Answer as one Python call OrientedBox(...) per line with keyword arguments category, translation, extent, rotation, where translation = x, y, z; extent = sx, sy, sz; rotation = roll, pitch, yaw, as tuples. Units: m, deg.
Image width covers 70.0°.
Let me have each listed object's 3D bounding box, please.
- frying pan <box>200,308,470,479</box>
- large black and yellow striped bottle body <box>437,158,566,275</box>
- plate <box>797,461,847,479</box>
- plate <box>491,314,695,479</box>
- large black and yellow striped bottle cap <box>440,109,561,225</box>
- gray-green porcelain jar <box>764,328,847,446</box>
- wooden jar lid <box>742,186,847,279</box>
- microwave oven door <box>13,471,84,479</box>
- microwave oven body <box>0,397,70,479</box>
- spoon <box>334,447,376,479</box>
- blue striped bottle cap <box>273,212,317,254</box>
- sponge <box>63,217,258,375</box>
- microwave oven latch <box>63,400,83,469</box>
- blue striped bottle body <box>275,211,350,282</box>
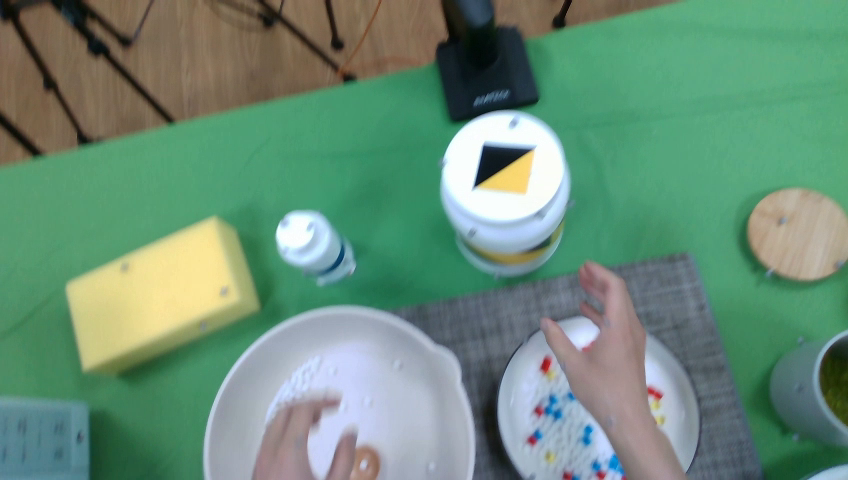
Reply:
OrientedBox(category="frying pan", translation=(-0.039, 0.298, 0.616), extent=(0.307, 0.103, 0.483), rotation=(-34, 64, -1))
OrientedBox(category="large black and yellow striped bottle body", translation=(0.085, -0.045, 0.657), extent=(0.130, 0.185, 0.130), rotation=(-2, 73, 9))
OrientedBox(category="plate", translation=(0.427, 0.317, 0.575), extent=(0.207, 0.039, 0.206), rotation=(-3, 73, 9))
OrientedBox(category="plate", translation=(0.177, 0.184, 0.649), extent=(0.209, 0.038, 0.208), rotation=(-2, 74, 9))
OrientedBox(category="large black and yellow striped bottle cap", translation=(0.073, -0.071, 0.578), extent=(0.115, 0.019, 0.114), rotation=(-2, 75, 8))
OrientedBox(category="gray-green porcelain jar", translation=(0.399, 0.144, 0.583), extent=(0.106, 0.127, 0.105), rotation=(-2, 73, 8))
OrientedBox(category="wooden jar lid", translation=(0.414, -0.007, 0.680), extent=(0.108, 0.021, 0.108), rotation=(-2, 75, 9))
OrientedBox(category="microwave oven door", translation=(-0.406, 0.407, 0.553), extent=(0.039, 0.245, 0.353), rotation=(-12, 72, 5))
OrientedBox(category="microwave oven body", translation=(-0.553, 0.397, 0.585), extent=(0.326, 0.262, 0.438), rotation=(-12, 73, 5))
OrientedBox(category="spoon", translation=(-0.113, 0.301, 0.632), extent=(0.041, 0.022, 0.193), rotation=(31, 54, 13))
OrientedBox(category="blue striped bottle cap", translation=(-0.141, -0.008, 0.660), extent=(0.044, 0.021, 0.044), rotation=(-3, 71, 10))
OrientedBox(category="sponge", translation=(-0.326, 0.071, 0.753), extent=(0.207, 0.061, 0.117), rotation=(-25, 72, 1))
OrientedBox(category="microwave oven latch", translation=(-0.422, 0.229, 0.715), extent=(0.030, 0.030, 0.078), rotation=(-9, 73, 6))
OrientedBox(category="blue striped bottle body", translation=(-0.132, 0.006, 0.709), extent=(0.063, 0.121, 0.062), rotation=(-2, 73, 9))
